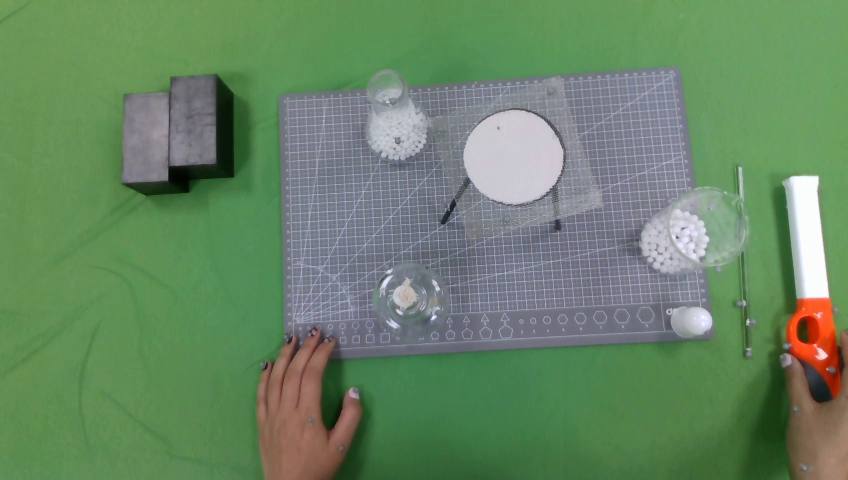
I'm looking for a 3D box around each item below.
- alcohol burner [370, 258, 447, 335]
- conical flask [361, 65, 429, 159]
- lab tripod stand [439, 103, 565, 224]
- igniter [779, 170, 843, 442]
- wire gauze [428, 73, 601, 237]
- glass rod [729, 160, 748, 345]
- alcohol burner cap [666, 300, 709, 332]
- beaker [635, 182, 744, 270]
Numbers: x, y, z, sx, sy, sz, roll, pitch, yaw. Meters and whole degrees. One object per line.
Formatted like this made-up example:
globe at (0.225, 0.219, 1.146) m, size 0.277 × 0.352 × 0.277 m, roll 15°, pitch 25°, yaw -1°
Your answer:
alcohol burner at (-0.017, 0.054, 0.593) m, size 0.078 × 0.119 × 0.077 m, roll -1°, pitch 80°, yaw 4°
conical flask at (-0.034, -0.134, 0.617) m, size 0.075 × 0.122 × 0.075 m, roll 0°, pitch 81°, yaw 3°
lab tripod stand at (0.079, -0.065, 0.597) m, size 0.148 × 0.132 × 0.148 m, roll 0°, pitch 83°, yaw 3°
igniter at (0.395, 0.064, 0.622) m, size 0.057 × 0.025 × 0.275 m, roll 0°, pitch 82°, yaw -2°
wire gauze at (0.078, -0.074, 0.530) m, size 0.125 × 0.011 × 0.121 m, roll -16°, pitch 82°, yaw 0°
glass rod at (0.334, 0.011, 0.643) m, size 0.008 × 0.008 × 0.199 m, roll 0°, pitch 81°, yaw 2°
alcohol burner cap at (0.270, 0.076, 0.615) m, size 0.034 × 0.048 × 0.033 m, roll 0°, pitch 81°, yaw 2°
beaker at (0.259, -0.011, 0.599) m, size 0.084 × 0.100 × 0.074 m, roll -40°, pitch 82°, yaw -5°
